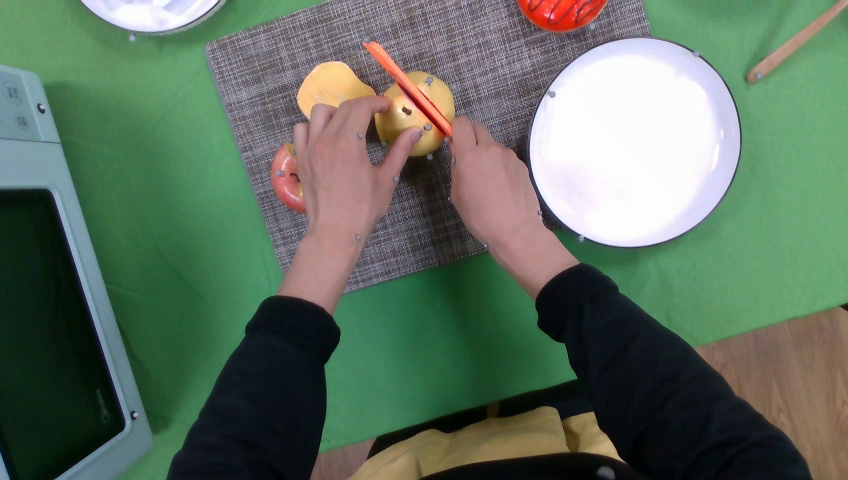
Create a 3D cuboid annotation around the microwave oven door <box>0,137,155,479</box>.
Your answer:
[{"bbox_3d":[-0.378,0.079,0.564,0.039,0.243,0.356,-15,96,6],"label":"microwave oven door"}]

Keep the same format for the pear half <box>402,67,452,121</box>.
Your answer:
[{"bbox_3d":[0.005,-0.149,0.601,0.070,0.088,0.031,38,89,4],"label":"pear half"}]

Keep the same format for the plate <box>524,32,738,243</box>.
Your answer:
[{"bbox_3d":[0.206,-0.102,0.617,0.209,0.038,0.209,0,97,4],"label":"plate"}]

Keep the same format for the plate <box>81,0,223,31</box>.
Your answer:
[{"bbox_3d":[-0.280,-0.321,0.627,0.207,0.039,0.208,0,97,4],"label":"plate"}]

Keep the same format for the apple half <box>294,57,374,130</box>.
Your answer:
[{"bbox_3d":[-0.096,-0.145,0.631,0.081,0.033,0.081,2,77,-8],"label":"apple half"}]

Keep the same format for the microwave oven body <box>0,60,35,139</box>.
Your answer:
[{"bbox_3d":[-0.529,0.073,0.579,0.326,0.259,0.442,-14,96,5],"label":"microwave oven body"}]

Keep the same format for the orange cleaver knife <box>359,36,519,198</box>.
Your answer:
[{"bbox_3d":[0.014,-0.120,0.590,0.012,0.077,0.212,-45,102,5],"label":"orange cleaver knife"}]

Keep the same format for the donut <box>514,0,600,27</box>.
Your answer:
[{"bbox_3d":[0.132,-0.262,0.599,0.099,0.048,0.099,1,99,7],"label":"donut"}]

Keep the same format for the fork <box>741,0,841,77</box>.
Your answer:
[{"bbox_3d":[0.390,-0.231,0.567,0.028,0.018,0.207,41,118,-9],"label":"fork"}]

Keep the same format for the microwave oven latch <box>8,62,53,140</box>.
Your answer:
[{"bbox_3d":[-0.424,-0.145,0.641,0.030,0.029,0.079,-13,97,5],"label":"microwave oven latch"}]

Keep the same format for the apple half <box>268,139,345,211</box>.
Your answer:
[{"bbox_3d":[-0.127,-0.060,0.628,0.081,0.074,0.053,37,102,-5],"label":"apple half"}]

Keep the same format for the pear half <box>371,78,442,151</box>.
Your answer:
[{"bbox_3d":[-0.024,-0.117,0.594,0.076,0.110,0.056,42,100,4],"label":"pear half"}]
